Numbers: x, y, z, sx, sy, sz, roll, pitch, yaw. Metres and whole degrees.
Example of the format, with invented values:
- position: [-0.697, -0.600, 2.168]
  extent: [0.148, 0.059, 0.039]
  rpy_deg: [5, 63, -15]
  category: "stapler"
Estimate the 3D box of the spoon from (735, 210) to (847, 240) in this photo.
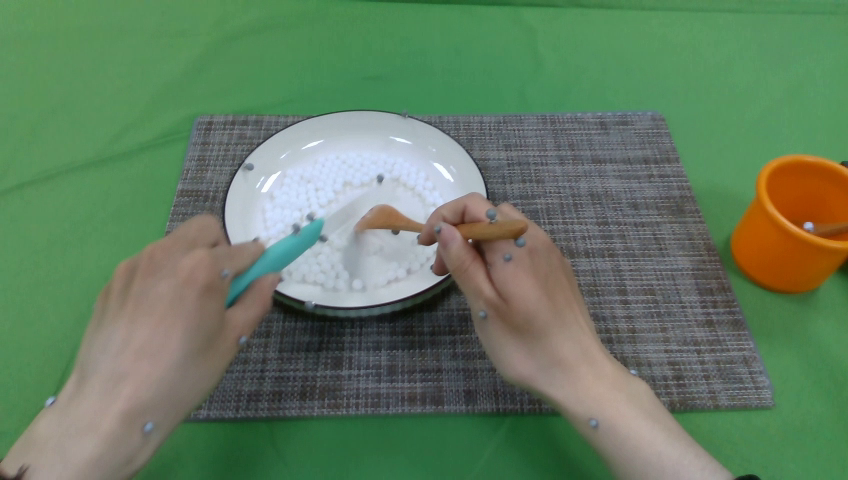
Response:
- position: [0.314, -0.012, 0.426]
  extent: [0.041, 0.192, 0.022]
  rpy_deg: [-30, 104, -25]
  category: "spoon"

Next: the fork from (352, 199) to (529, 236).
- position: [-0.001, -0.014, 0.404]
  extent: [0.028, 0.019, 0.206]
  rpy_deg: [-46, 28, -21]
  category: "fork"

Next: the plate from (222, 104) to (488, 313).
- position: [-0.053, -0.028, 0.490]
  extent: [0.209, 0.038, 0.207]
  rpy_deg: [1, 53, -1]
  category: "plate"

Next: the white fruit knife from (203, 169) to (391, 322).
- position: [-0.082, -0.009, 0.446]
  extent: [0.016, 0.027, 0.207]
  rpy_deg: [26, 41, 18]
  category: "white fruit knife"
